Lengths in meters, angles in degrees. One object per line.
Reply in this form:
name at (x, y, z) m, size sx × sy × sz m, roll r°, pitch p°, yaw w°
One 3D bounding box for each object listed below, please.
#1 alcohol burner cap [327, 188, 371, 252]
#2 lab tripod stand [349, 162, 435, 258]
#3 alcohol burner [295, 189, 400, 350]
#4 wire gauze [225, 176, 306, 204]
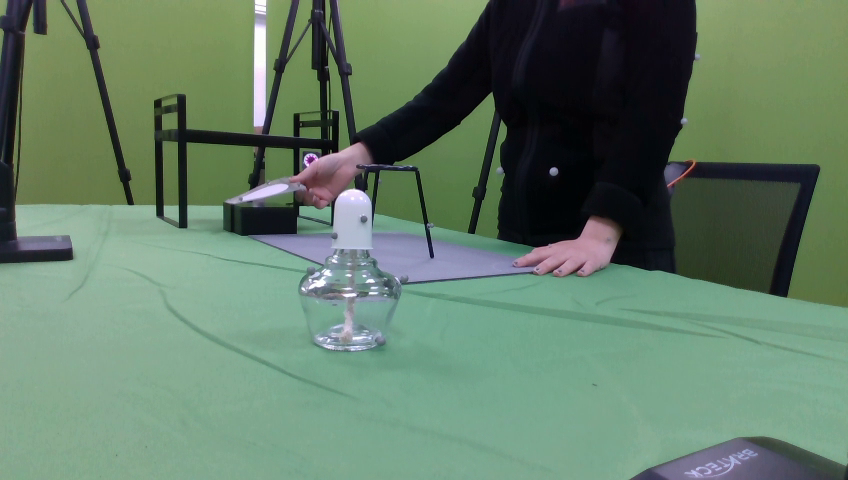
alcohol burner cap at (-0.055, -0.015, 0.448) m, size 0.034 × 0.048 × 0.034 m, roll 0°, pitch 1°, yaw 0°
lab tripod stand at (-0.055, -0.044, 0.863) m, size 0.148 × 0.131 × 0.148 m, roll 3°, pitch 9°, yaw 0°
alcohol burner at (-0.056, 0.021, 0.453) m, size 0.078 × 0.119 × 0.078 m, roll 3°, pitch 6°, yaw 0°
wire gauze at (-0.285, -0.087, 1.078) m, size 0.125 × 0.011 × 0.121 m, roll -23°, pitch 19°, yaw -22°
